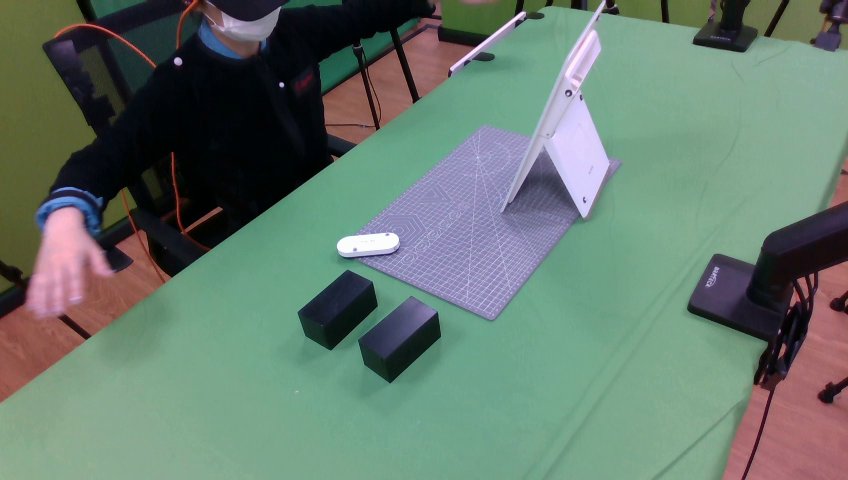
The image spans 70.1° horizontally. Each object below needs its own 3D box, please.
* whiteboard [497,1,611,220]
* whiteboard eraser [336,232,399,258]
[{"bbox_3d":[0.259,-0.177,0.963,0.143,0.306,0.217,28,48,9],"label":"whiteboard"},{"bbox_3d":[-0.091,0.008,0.970,0.101,0.019,0.041,-4,41,2],"label":"whiteboard eraser"}]
